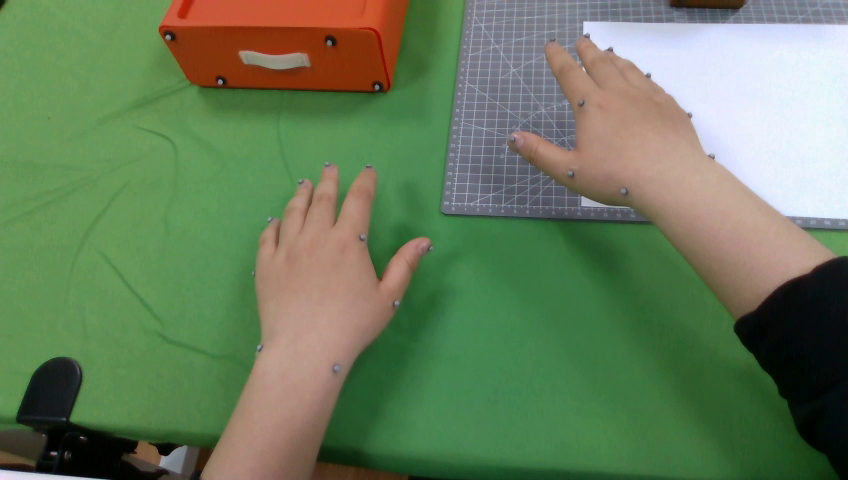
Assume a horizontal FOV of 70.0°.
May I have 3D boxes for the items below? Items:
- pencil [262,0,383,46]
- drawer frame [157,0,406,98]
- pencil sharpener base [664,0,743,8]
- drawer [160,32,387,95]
[{"bbox_3d":[-0.116,-0.230,0.619,0.192,0.012,0.012,29,67,27],"label":"pencil"},{"bbox_3d":[-0.121,-0.244,0.592,0.201,0.083,0.212,2,60,9],"label":"drawer frame"},{"bbox_3d":[0.258,-0.269,0.543,0.076,0.108,0.061,4,61,10],"label":"pencil sharpener base"},{"bbox_3d":[-0.121,-0.241,0.593,0.194,0.074,0.210,3,59,9],"label":"drawer"}]
